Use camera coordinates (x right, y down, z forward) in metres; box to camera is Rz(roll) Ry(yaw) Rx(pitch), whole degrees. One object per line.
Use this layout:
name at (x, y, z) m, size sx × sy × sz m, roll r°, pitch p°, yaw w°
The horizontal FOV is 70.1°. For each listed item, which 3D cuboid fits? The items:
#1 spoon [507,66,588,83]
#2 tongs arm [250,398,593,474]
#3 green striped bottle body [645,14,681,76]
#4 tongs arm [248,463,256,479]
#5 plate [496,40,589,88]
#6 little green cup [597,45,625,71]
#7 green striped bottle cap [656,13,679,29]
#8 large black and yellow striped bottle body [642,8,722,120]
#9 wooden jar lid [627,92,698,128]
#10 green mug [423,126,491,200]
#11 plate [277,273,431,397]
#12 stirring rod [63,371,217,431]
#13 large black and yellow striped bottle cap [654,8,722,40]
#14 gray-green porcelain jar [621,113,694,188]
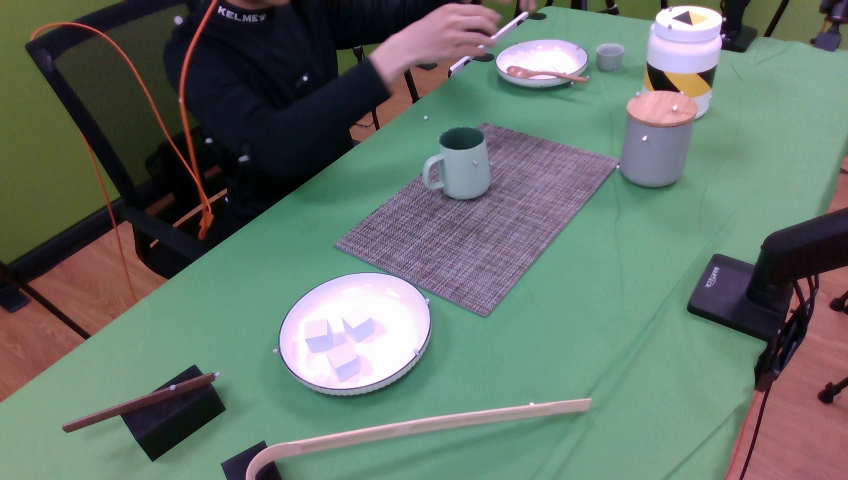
spoon at (0.265, -0.357, 1.311) m, size 0.192 × 0.022 × 0.042 m, roll 18°, pitch 47°, yaw 38°
tongs arm at (0.008, 0.212, 0.675) m, size 0.389 × 0.028 × 0.028 m, roll -5°, pitch 46°, yaw -11°
green striped bottle body at (0.520, -0.424, 1.312) m, size 0.063 × 0.120 × 0.063 m, roll -4°, pitch 41°, yaw 4°
tongs arm at (0.012, 0.262, 0.615) m, size 0.385 × 0.026 × 0.050 m, roll 3°, pitch 41°, yaw -2°
plate at (0.269, -0.398, 1.381) m, size 0.209 × 0.038 × 0.208 m, roll -4°, pitch 41°, yaw 4°
little green cup at (0.422, -0.413, 1.375) m, size 0.061 × 0.039 × 0.061 m, roll -3°, pitch 41°, yaw 3°
green striped bottle cap at (0.515, -0.463, 1.278) m, size 0.044 × 0.020 × 0.044 m, roll -6°, pitch 42°, yaw 6°
large black and yellow striped bottle body at (0.493, -0.334, 1.161) m, size 0.131 × 0.185 × 0.130 m, roll -4°, pitch 41°, yaw 4°
wooden jar lid at (0.384, -0.207, 0.980) m, size 0.108 × 0.021 × 0.108 m, roll -6°, pitch 39°, yaw 5°
green mug at (0.055, -0.126, 1.039) m, size 0.126 × 0.105 × 0.091 m, roll -25°, pitch 44°, yaw -18°
plate at (-0.091, 0.129, 0.821) m, size 0.207 × 0.039 × 0.206 m, roll -4°, pitch 40°, yaw 4°
stirring rod at (-0.337, 0.192, 0.723) m, size 0.177 × 0.014 × 0.005 m, roll -18°, pitch 42°, yaw -12°
large black and yellow striped bottle cap at (0.483, -0.397, 1.108) m, size 0.115 × 0.019 × 0.114 m, roll -3°, pitch 41°, yaw 3°
gray-green porcelain jar at (0.390, -0.161, 1.020) m, size 0.106 × 0.127 × 0.105 m, roll -4°, pitch 41°, yaw 4°
